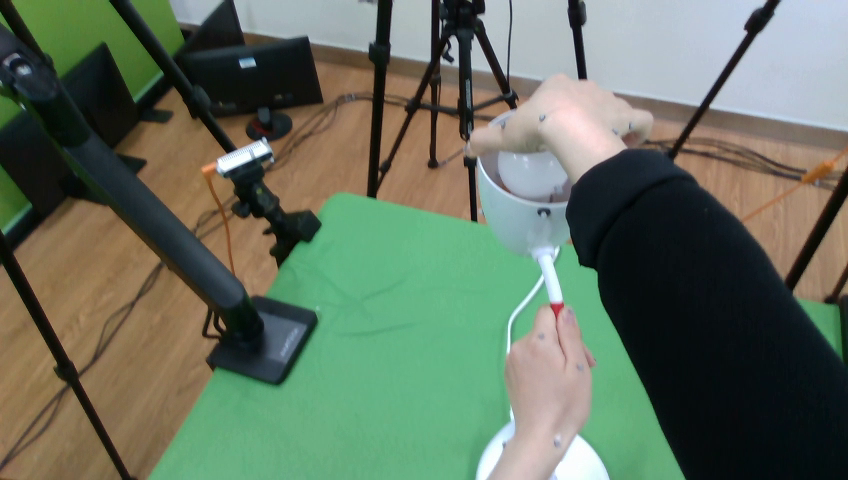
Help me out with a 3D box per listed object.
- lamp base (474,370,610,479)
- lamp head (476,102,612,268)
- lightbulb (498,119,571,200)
[{"bbox_3d":[0.131,0.233,0.665,0.161,0.182,0.177,-20,51,-13],"label":"lamp base"},{"bbox_3d":[0.099,-0.039,0.535,0.112,0.124,0.111,-1,50,1],"label":"lamp head"},{"bbox_3d":[0.093,-0.057,0.517,0.059,0.108,0.059,-3,60,5],"label":"lightbulb"}]
